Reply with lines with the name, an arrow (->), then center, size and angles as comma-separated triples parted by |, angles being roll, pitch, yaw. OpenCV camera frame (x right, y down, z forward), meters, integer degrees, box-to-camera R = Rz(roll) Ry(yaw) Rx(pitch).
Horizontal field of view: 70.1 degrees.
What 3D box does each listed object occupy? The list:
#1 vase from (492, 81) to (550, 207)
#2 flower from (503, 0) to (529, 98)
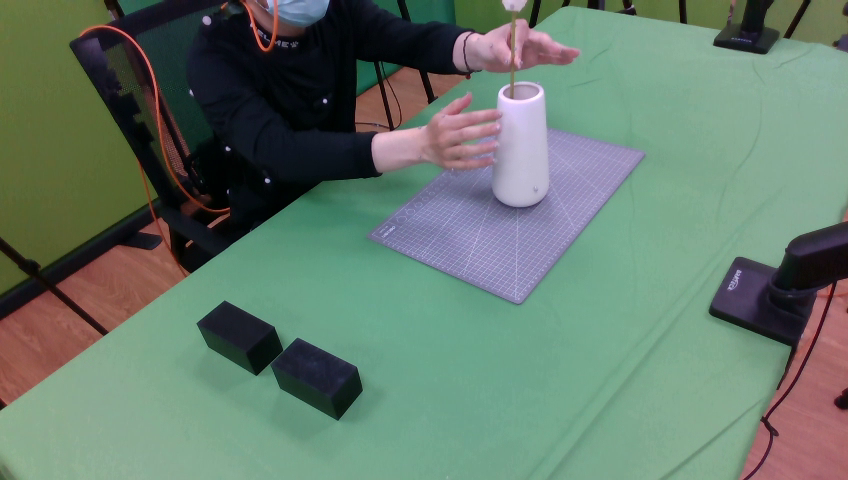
vase -> 0.159, -0.151, 0.982 | 0.098, 0.201, 0.097 | -3, 41, 3
flower -> 0.133, -0.232, 0.918 | 0.044, 0.363, 0.038 | 13, 47, 16
